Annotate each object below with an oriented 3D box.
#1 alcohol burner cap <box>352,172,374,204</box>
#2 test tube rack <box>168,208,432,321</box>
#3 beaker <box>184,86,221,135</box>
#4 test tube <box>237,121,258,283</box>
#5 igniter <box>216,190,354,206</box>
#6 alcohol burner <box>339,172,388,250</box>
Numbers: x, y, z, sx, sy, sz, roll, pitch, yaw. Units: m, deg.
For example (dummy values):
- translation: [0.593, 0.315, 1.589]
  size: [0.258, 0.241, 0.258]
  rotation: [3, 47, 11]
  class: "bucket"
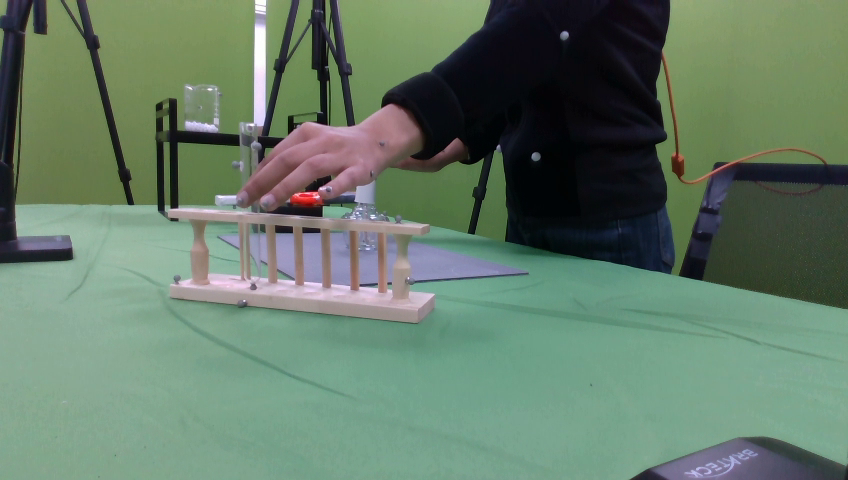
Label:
- translation: [-0.093, -0.081, 0.935]
  size: [0.034, 0.048, 0.034]
  rotation: [6, 10, -1]
  class: "alcohol burner cap"
- translation: [-0.116, 0.018, 0.573]
  size: [0.242, 0.085, 0.067]
  rotation: [4, 7, 14]
  class: "test tube rack"
- translation: [-0.476, -0.277, 1.296]
  size: [0.074, 0.100, 0.084]
  rotation: [2, 8, -1]
  class: "beaker"
- translation: [-0.163, -0.033, 0.558]
  size: [0.017, 0.150, 0.017]
  rotation: [2, 11, 0]
  class: "test tube"
- translation: [-0.249, -0.080, 1.152]
  size: [0.278, 0.025, 0.057]
  rotation: [-4, 12, -27]
  class: "igniter"
- translation: [-0.094, -0.045, 0.939]
  size: [0.078, 0.119, 0.078]
  rotation: [0, 7, 0]
  class: "alcohol burner"
